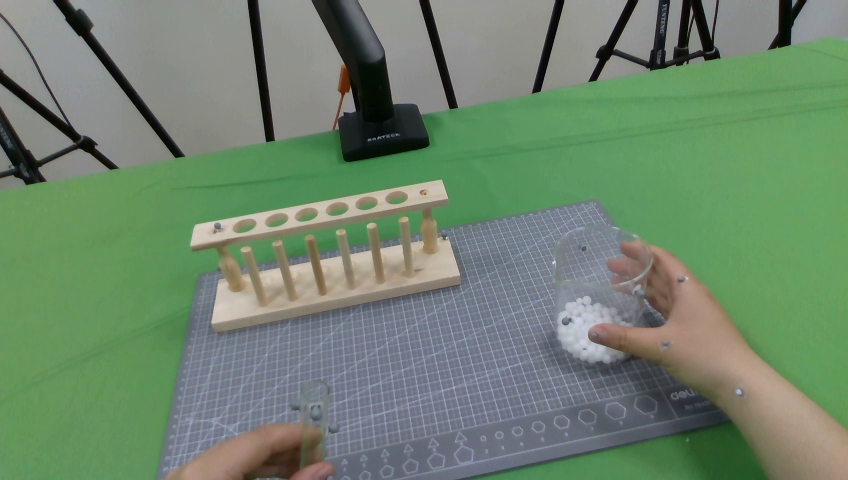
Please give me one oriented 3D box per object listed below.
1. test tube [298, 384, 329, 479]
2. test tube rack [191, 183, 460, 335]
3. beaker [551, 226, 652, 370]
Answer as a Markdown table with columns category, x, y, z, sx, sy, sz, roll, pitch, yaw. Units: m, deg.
| category | x | y | z | sx | sy | sz | roll | pitch | yaw |
| --- | --- | --- | --- | --- | --- | --- | --- | --- | --- |
| test tube | -0.069 | 0.141 | 0.369 | 0.017 | 0.151 | 0.017 | 6 | 37 | -4 |
| test tube rack | -0.092 | 0.018 | 0.592 | 0.242 | 0.086 | 0.066 | -11 | 39 | -3 |
| beaker | 0.141 | 0.052 | 0.497 | 0.084 | 0.101 | 0.073 | -23 | 40 | -16 |
